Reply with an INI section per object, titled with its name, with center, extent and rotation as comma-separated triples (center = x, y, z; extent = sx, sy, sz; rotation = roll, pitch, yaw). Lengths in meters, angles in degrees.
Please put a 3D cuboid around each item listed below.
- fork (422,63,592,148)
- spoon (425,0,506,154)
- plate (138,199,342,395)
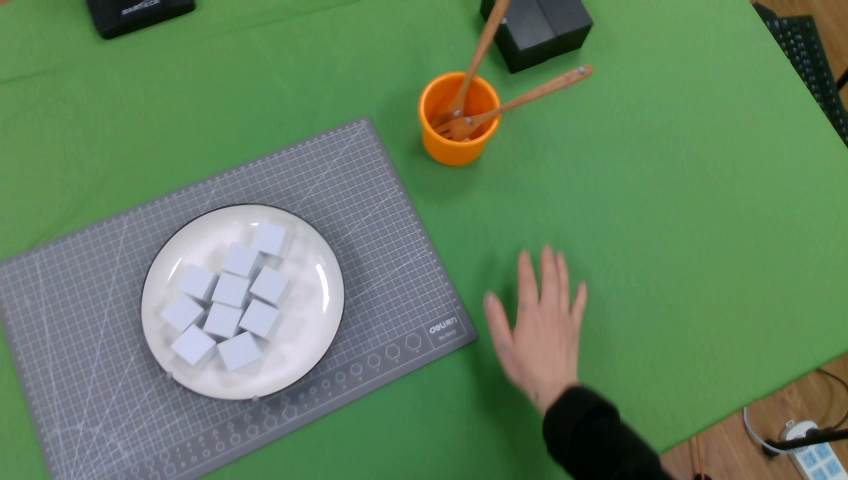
[fork]
center = 0.084, -0.146, 0.659
extent = 0.207, 0.019, 0.028
rotation = -18, 92, 35
[spoon]
center = 0.049, -0.183, 0.672
extent = 0.041, 0.194, 0.021
rotation = 30, 32, 9
[plate]
center = -0.191, 0.060, 0.645
extent = 0.208, 0.039, 0.206
rotation = 1, 75, -4
